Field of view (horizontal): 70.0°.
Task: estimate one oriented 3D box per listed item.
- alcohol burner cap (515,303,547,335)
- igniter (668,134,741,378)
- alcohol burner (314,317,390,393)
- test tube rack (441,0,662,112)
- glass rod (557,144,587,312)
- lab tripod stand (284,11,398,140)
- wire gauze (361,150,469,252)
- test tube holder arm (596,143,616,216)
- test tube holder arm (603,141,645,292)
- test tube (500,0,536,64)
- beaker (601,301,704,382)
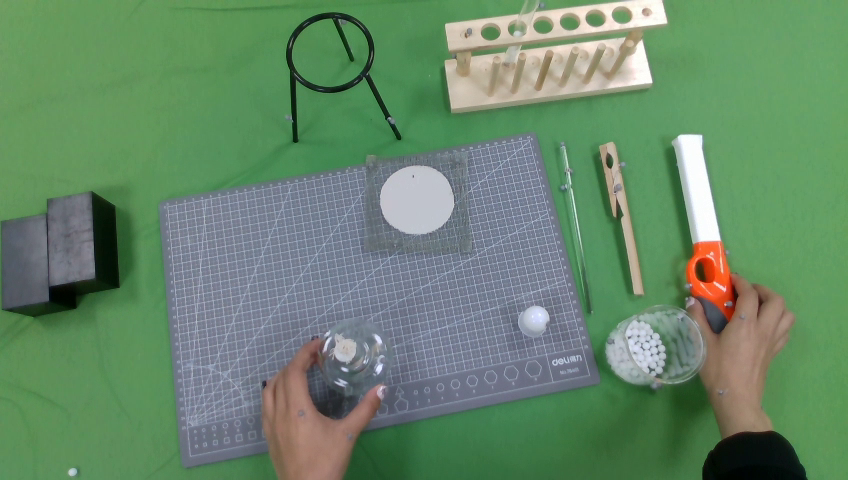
[{"bbox_3d":[0.116,0.083,0.648,0.034,0.048,0.033,0,75,2],"label":"alcohol burner cap"},{"bbox_3d":[0.310,0.012,0.673,0.057,0.025,0.275,-1,75,-9],"label":"igniter"},{"bbox_3d":[-0.074,0.113,0.606,0.078,0.120,0.077,-1,75,3],"label":"alcohol burner"},{"bbox_3d":[0.144,-0.213,0.704,0.242,0.085,0.066,-7,75,-1],"label":"test tube rack"},{"bbox_3d":[0.169,-0.017,0.692,0.008,0.008,0.198,-5,78,-1],"label":"glass rod"},{"bbox_3d":[-0.098,-0.173,0.673,0.148,0.132,0.147,0,77,1],"label":"lab tripod stand"},{"bbox_3d":[-0.011,-0.046,0.701,0.125,0.011,0.121,0,76,0],"label":"wire gauze"},{"bbox_3d":[0.214,-0.070,0.702,0.010,0.015,0.087,-17,73,33],"label":"test tube holder arm"},{"bbox_3d":[0.226,-0.029,0.688,0.013,0.015,0.177,-19,73,32],"label":"test tube holder arm"},{"bbox_3d":[0.103,-0.235,0.659,0.017,0.151,0.017,1,76,-4],"label":"test tube"},{"bbox_3d":[0.222,0.106,0.614,0.084,0.101,0.073,20,76,7],"label":"beaker"}]
